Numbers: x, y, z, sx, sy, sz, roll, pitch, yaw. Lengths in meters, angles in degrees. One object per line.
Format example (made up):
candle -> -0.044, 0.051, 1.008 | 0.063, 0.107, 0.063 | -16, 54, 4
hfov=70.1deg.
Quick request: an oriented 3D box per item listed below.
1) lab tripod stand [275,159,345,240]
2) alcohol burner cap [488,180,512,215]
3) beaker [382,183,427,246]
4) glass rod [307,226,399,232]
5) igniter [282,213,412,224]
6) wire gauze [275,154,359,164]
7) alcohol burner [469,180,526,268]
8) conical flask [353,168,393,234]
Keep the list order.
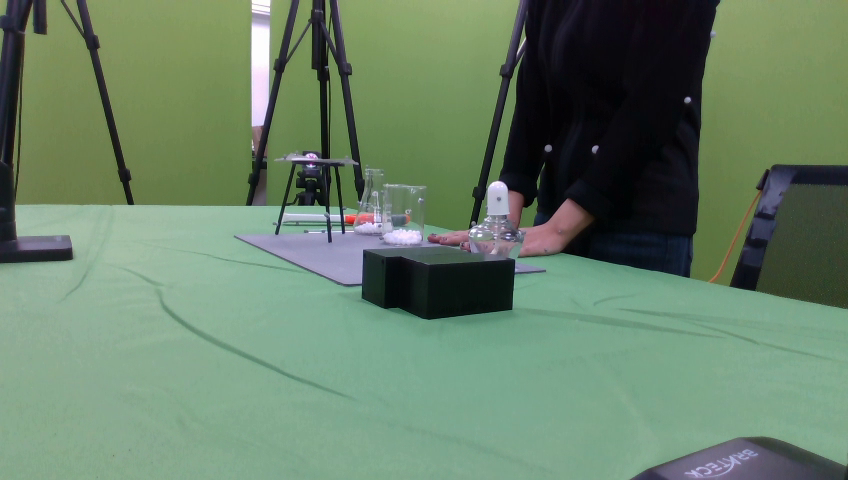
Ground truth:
lab tripod stand -> -0.181, -0.072, 1.039 | 0.148, 0.131, 0.148 | 4, 8, 0
alcohol burner cap -> 0.101, -0.058, 0.816 | 0.034, 0.048, 0.034 | -4, 8, 1
beaker -> -0.033, -0.044, 1.008 | 0.074, 0.100, 0.084 | 6, 8, 22
glass rod -> -0.134, -0.022, 1.183 | 0.201, 0.008, 0.008 | -2, 8, -33
igniter -> -0.159, -0.046, 1.287 | 0.278, 0.025, 0.057 | -1, -2, -21
wire gauze -> -0.179, -0.137, 1.028 | 0.121, 0.011, 0.125 | 4, 8, 0
alcohol burner -> 0.101, -0.022, 0.821 | 0.078, 0.119, 0.078 | 4, 8, 0
conical flask -> -0.094, -0.073, 1.126 | 0.075, 0.122, 0.075 | 2, 7, 0
